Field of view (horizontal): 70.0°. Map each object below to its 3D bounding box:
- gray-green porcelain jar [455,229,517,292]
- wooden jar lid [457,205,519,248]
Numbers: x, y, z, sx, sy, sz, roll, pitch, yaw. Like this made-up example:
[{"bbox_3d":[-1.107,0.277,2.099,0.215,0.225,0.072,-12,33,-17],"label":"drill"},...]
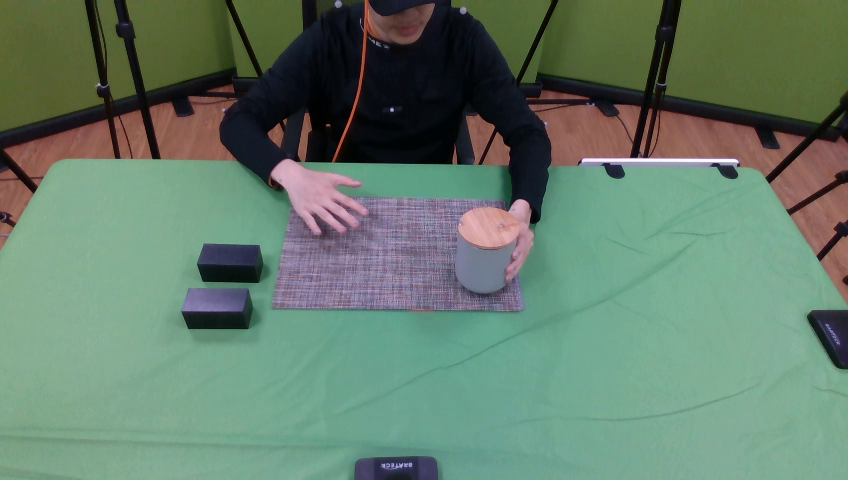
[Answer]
[{"bbox_3d":[0.109,0.024,1.102,0.106,0.127,0.105,1,44,-1],"label":"gray-green porcelain jar"},{"bbox_3d":[0.111,-0.020,1.058,0.108,0.021,0.107,-1,42,1],"label":"wooden jar lid"}]
